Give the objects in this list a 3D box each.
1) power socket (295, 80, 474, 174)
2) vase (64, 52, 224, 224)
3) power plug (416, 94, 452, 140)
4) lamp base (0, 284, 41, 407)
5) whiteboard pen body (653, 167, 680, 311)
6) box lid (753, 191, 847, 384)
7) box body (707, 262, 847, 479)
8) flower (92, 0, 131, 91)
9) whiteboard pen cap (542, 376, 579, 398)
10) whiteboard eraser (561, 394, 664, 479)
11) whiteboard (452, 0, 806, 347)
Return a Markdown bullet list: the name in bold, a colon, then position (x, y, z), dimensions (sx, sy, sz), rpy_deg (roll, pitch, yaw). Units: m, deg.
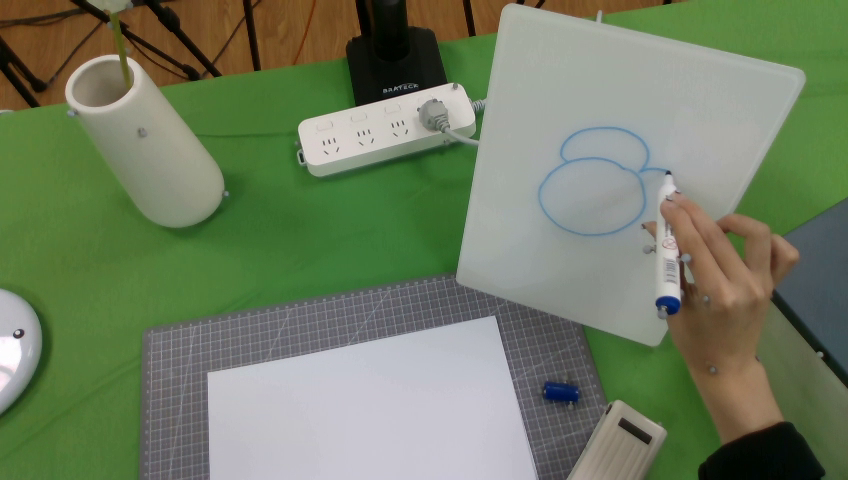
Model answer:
- **power socket**: position (-0.046, -0.138, 0.732), dimensions (0.227, 0.033, 0.071), rpy_deg (-15, 64, -6)
- **vase**: position (-0.283, -0.098, 0.627), dimensions (0.098, 0.201, 0.097), rpy_deg (-1, 63, 3)
- **power plug**: position (0.011, -0.136, 0.704), dimensions (0.035, 0.053, 0.072), rpy_deg (-6, 69, -1)
- **lamp base**: position (-0.491, 0.077, 0.555), dimensions (0.178, 0.182, 0.160), rpy_deg (19, 65, 15)
- **whiteboard pen body**: position (0.176, -0.007, 0.440), dimensions (0.017, 0.017, 0.140), rpy_deg (12, 50, 9)
- **box lid**: position (0.455, 0.093, 0.440), dimensions (0.263, 0.015, 0.368), rpy_deg (-27, 66, -11)
- **box body**: position (0.459, 0.129, 0.506), dimensions (0.254, 0.161, 0.360), rpy_deg (-27, 65, -11)
- **flower**: position (-0.266, -0.131, 0.551), dimensions (0.038, 0.363, 0.044), rpy_deg (37, 60, 1)
- **whiteboard pen cap**: position (0.132, 0.143, 0.589), dimensions (0.033, 0.018, 0.018), rpy_deg (7, 63, 3)
- **whiteboard eraser**: position (0.166, 0.200, 0.545), dimensions (0.055, 0.042, 0.112), rpy_deg (31, 68, 17)
- **whiteboard**: position (0.168, -0.075, 0.575), dimensions (0.216, 0.308, 0.143), rpy_deg (18, 44, 12)
